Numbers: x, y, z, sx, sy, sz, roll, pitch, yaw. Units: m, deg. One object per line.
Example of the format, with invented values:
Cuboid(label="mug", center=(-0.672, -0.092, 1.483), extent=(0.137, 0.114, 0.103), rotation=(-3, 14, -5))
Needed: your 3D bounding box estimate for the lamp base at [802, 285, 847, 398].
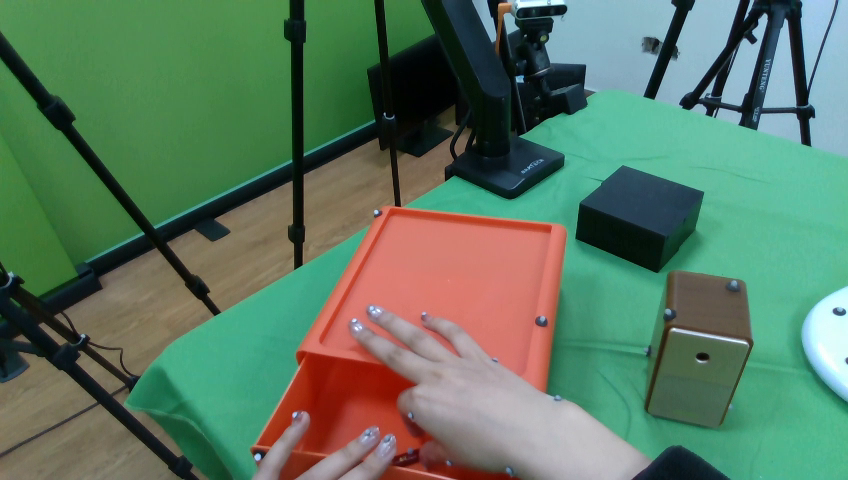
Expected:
Cuboid(label="lamp base", center=(0.416, 0.033, 0.487), extent=(0.160, 0.182, 0.178), rotation=(7, 37, 14))

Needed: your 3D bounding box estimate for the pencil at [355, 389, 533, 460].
Cuboid(label="pencil", center=(-0.002, 0.153, 0.475), extent=(0.194, 0.012, 0.012), rotation=(-19, 40, -10))

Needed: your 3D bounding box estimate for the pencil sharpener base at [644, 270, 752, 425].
Cuboid(label="pencil sharpener base", center=(0.220, 0.087, 0.496), extent=(0.061, 0.108, 0.076), rotation=(9, 39, 17))

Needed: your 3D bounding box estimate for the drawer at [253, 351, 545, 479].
Cuboid(label="drawer", center=(0.000, 0.120, 0.498), extent=(0.194, 0.074, 0.210), rotation=(6, 38, 14))

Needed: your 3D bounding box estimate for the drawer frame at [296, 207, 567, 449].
Cuboid(label="drawer frame", center=(0.020, 0.066, 0.561), extent=(0.201, 0.083, 0.212), rotation=(6, 38, 14))

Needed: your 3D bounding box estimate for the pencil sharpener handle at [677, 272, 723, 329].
Cuboid(label="pencil sharpener handle", center=(0.234, 0.047, 0.526), extent=(0.036, 0.068, 0.030), rotation=(13, 41, 13))
